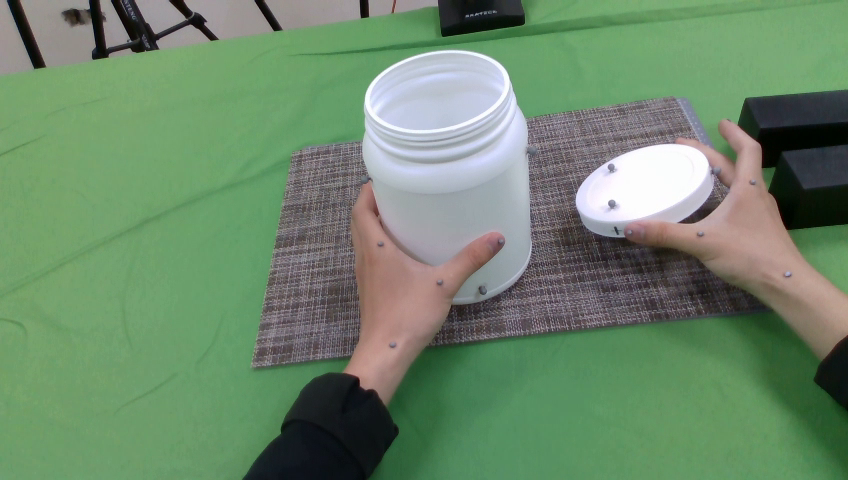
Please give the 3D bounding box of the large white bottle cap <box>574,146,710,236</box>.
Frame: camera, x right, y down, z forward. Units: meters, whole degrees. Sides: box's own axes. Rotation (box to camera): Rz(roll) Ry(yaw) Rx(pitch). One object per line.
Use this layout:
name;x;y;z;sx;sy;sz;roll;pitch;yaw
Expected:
large white bottle cap;0.191;-0.045;0.536;0.115;0.018;0.114;-24;28;14

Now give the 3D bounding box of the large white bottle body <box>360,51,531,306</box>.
large white bottle body;0.021;-0.048;0.507;0.130;0.186;0.129;-6;46;7
